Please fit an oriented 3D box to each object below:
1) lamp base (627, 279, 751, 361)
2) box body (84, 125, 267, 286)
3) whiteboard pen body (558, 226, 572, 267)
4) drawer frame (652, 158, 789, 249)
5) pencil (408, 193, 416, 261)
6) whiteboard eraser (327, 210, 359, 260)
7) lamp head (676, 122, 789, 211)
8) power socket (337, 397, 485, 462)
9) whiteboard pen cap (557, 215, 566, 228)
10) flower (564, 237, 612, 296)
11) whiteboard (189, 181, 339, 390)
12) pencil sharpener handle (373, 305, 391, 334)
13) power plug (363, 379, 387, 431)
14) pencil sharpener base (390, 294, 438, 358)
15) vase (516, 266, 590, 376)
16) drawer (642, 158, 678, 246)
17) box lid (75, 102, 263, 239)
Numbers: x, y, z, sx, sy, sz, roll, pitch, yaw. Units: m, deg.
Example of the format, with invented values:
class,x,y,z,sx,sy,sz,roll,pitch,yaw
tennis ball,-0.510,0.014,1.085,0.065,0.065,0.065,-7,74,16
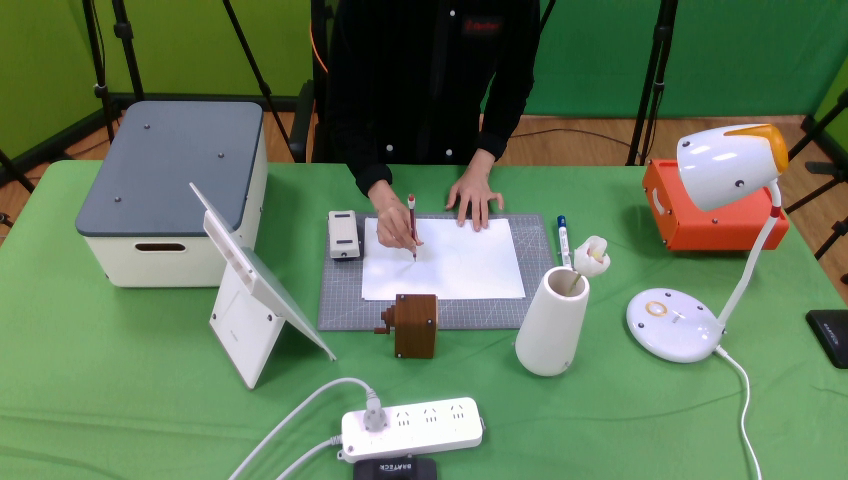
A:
class,x,y,z,sx,sy,sz,roll,pitch,yaw
lamp base,0.459,0.100,1.027,0.178,0.181,0.160,27,51,17
box body,-0.446,-0.088,1.150,0.254,0.161,0.361,-1,46,-5
whiteboard pen body,0.280,0.010,1.208,0.017,0.017,0.140,3,50,-1
drawer frame,0.571,-0.075,1.214,0.214,0.083,0.200,0,45,-1
pencil,-0.020,-0.018,1.087,0.012,0.195,0.012,0,54,1
whiteboard eraser,-0.158,-0.009,1.177,0.055,0.042,0.112,-6,47,-7
lamp head,0.423,-0.104,0.819,0.122,0.113,0.112,-13,33,40
power socket,-0.018,0.285,0.915,0.227,0.033,0.071,-5,46,-8
whiteboard pen cap,0.284,-0.035,1.246,0.018,0.018,0.033,4,52,-1
flower,0.206,0.088,0.893,0.038,0.363,0.044,-17,67,-9
whiteboard,-0.292,0.096,0.929,0.144,0.307,0.216,-37,57,-10
pencil sharpener handle,-0.069,0.133,0.989,0.030,0.068,0.036,1,47,-2
power plug,-0.072,0.252,0.910,0.035,0.053,0.072,3,45,-1
pencil sharpener base,-0.018,0.143,1.000,0.077,0.107,0.061,1,46,-2
vase,0.208,0.132,0.965,0.098,0.201,0.097,3,46,-3
drawer,0.566,-0.076,1.211,0.212,0.073,0.193,2,45,-2
box lid,-0.443,-0.138,1.094,0.263,0.015,0.369,-1,47,-5
